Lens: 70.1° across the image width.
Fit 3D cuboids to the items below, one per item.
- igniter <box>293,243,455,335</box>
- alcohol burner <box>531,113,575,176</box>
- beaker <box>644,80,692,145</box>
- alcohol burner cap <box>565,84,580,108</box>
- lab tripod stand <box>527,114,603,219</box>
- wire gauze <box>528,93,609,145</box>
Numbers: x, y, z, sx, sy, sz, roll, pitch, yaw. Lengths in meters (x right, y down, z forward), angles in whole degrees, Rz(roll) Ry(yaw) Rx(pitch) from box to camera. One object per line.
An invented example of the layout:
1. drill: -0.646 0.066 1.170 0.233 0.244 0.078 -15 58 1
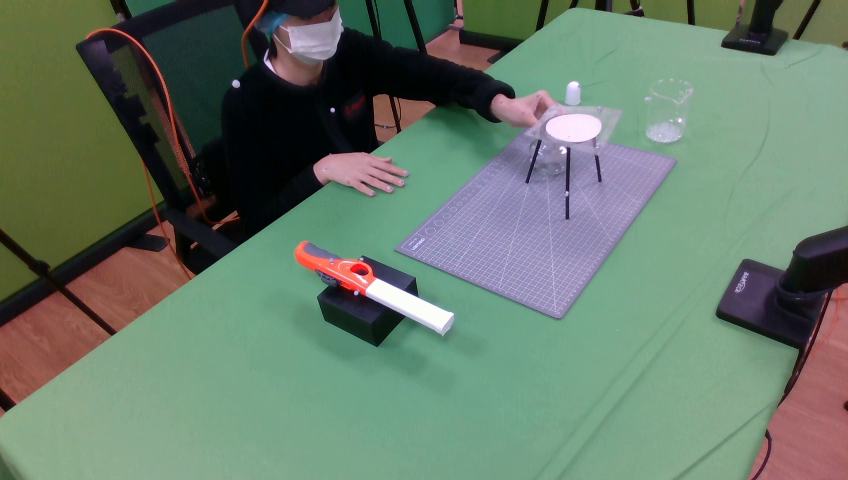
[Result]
1. igniter: -0.079 0.062 0.837 0.274 0.025 0.057 23 48 27
2. alcohol burner: 0.228 -0.173 1.071 0.078 0.119 0.077 -5 42 5
3. beaker: 0.451 -0.233 1.122 0.074 0.101 0.083 -8 40 1
4. alcohol burner cap: 0.315 -0.308 1.278 0.034 0.048 0.033 -4 43 4
5. lab tripod stand: 0.234 -0.129 1.002 0.148 0.132 0.147 -6 40 6
6. wire gauze: 0.225 -0.188 0.943 0.121 0.011 0.124 6 48 9
